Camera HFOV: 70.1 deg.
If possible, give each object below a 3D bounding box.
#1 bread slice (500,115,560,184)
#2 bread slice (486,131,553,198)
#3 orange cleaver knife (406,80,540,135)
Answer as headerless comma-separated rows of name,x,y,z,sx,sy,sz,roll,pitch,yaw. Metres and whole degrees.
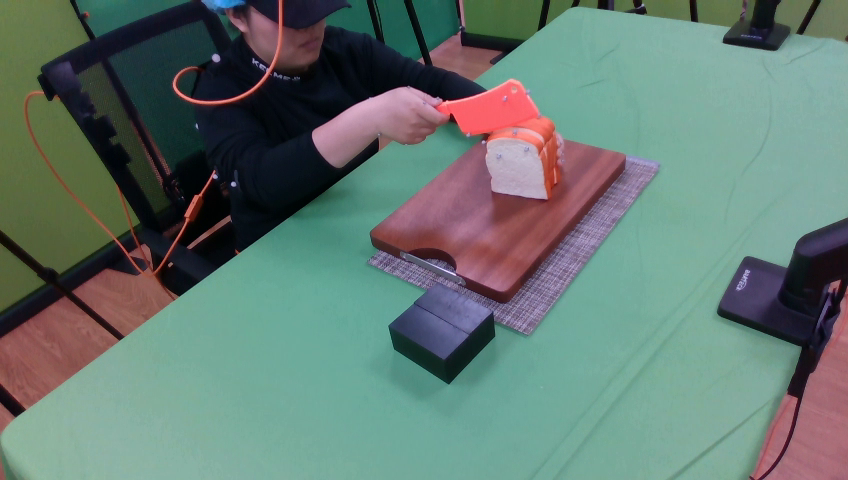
bread slice,0.174,-0.151,1.005,0.106,0.135,0.018,13,50,21
bread slice,0.149,-0.121,0.974,0.104,0.132,0.019,9,53,25
orange cleaver knife,0.071,-0.194,0.928,0.210,0.078,0.012,-5,42,31
